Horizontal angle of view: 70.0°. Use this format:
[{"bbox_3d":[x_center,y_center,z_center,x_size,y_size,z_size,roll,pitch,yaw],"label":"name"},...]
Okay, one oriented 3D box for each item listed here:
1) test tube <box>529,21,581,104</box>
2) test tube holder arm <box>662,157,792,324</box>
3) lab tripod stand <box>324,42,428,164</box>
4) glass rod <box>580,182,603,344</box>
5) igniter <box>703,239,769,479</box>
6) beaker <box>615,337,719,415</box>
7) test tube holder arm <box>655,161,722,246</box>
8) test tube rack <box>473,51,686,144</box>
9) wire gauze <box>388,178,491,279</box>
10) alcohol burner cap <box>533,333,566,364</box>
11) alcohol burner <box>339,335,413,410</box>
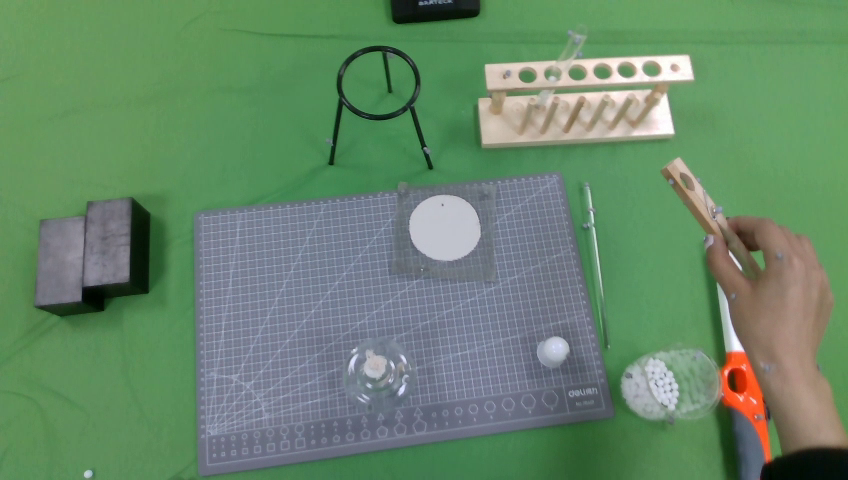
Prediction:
[{"bbox_3d":[0.148,-0.199,0.697,0.017,0.151,0.017,2,73,-6],"label":"test tube"},{"bbox_3d":[0.265,0.001,0.530,0.013,0.015,0.178,-39,93,-3],"label":"test tube holder arm"},{"bbox_3d":[-0.058,-0.150,0.703,0.148,0.132,0.147,0,74,-1],"label":"lab tripod stand"},{"bbox_3d":[0.199,0.024,0.720,0.008,0.008,0.198,-2,75,-2],"label":"glass rod"},{"bbox_3d":[0.348,0.131,0.680,0.057,0.025,0.275,4,72,-11],"label":"igniter"},{"bbox_3d":[0.246,0.145,0.636,0.084,0.101,0.073,23,72,8],"label":"beaker"},{"bbox_3d":[0.233,-0.031,0.527,0.010,0.015,0.088,-39,92,-3],"label":"test tube holder arm"},{"bbox_3d":[0.186,-0.172,0.742,0.242,0.085,0.066,-4,72,-2],"label":"test tube rack"},{"bbox_3d":[0.021,-0.016,0.726,0.125,0.011,0.121,4,73,-1],"label":"wire gauze"},{"bbox_3d":[0.141,0.117,0.668,0.034,0.048,0.033,1,73,-2],"label":"alcohol burner cap"},{"bbox_3d":[-0.051,0.133,0.621,0.078,0.120,0.077,0,71,1],"label":"alcohol burner"}]
